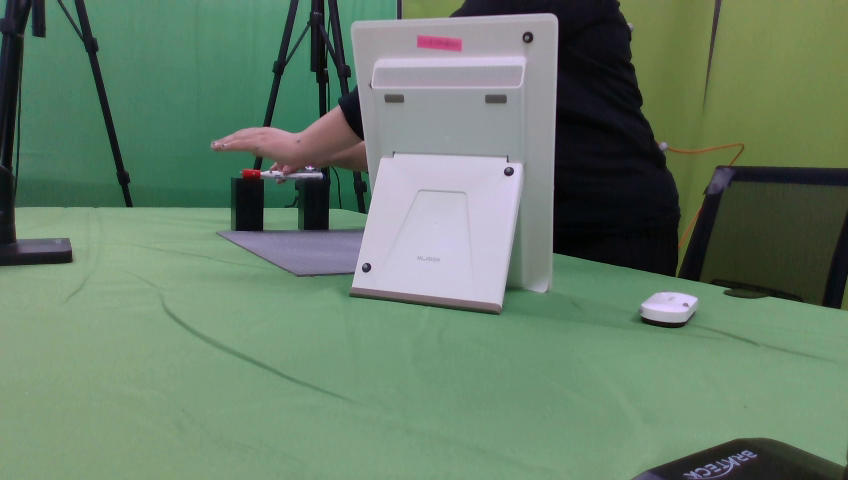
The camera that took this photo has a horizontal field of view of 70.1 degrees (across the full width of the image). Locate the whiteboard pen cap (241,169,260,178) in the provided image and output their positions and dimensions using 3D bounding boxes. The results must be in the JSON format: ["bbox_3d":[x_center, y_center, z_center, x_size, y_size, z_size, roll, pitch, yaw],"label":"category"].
[{"bbox_3d":[-0.327,-0.125,1.140,0.032,0.017,0.017,1,7,-26],"label":"whiteboard pen cap"}]

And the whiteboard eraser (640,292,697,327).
[{"bbox_3d":[0.240,0.066,0.590,0.041,0.019,0.102,7,7,31],"label":"whiteboard eraser"}]

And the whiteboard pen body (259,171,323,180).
[{"bbox_3d":[-0.264,-0.126,1.179,0.141,0.017,0.017,-2,8,-32],"label":"whiteboard pen body"}]

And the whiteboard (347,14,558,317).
[{"bbox_3d":[0.012,-0.056,0.609,0.216,0.305,0.144,5,27,20],"label":"whiteboard"}]
